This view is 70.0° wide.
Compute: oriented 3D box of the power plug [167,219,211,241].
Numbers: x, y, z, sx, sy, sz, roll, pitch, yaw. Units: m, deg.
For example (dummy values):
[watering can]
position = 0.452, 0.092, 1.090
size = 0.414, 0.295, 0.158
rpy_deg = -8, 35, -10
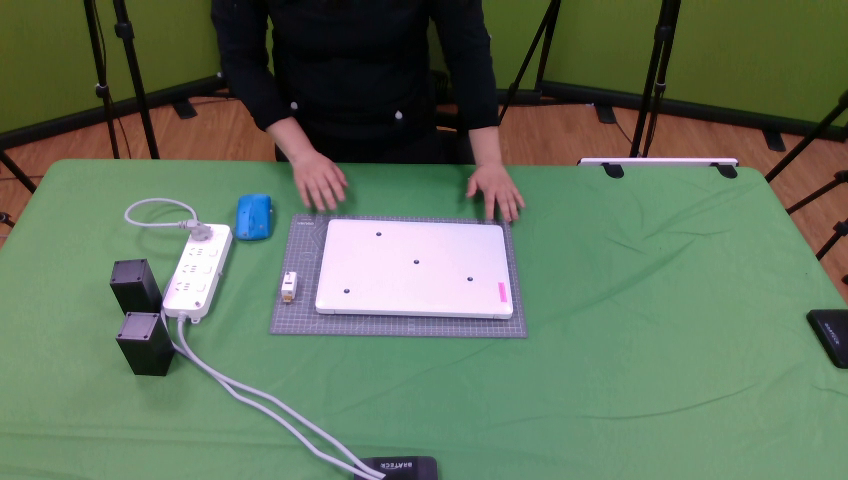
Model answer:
[power plug]
position = -0.438, -0.017, 1.143
size = 0.072, 0.053, 0.035
rpy_deg = 10, 43, 7

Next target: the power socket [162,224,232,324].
[power socket]
position = -0.411, 0.052, 1.107
size = 0.072, 0.033, 0.225
rpy_deg = 4, 45, -1

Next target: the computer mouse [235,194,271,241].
[computer mouse]
position = -0.341, -0.049, 1.208
size = 0.063, 0.041, 0.116
rpy_deg = 0, 50, -7

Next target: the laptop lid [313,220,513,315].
[laptop lid]
position = -0.017, 0.045, 1.138
size = 0.357, 0.013, 0.240
rpy_deg = 3, 43, -1

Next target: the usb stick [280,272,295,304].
[usb stick]
position = -0.246, 0.088, 1.085
size = 0.021, 0.027, 0.059
rpy_deg = 5, 48, -5

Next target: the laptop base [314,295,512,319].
[laptop base]
position = -0.018, 0.055, 1.144
size = 0.354, 0.023, 0.234
rpy_deg = 2, 42, -2
